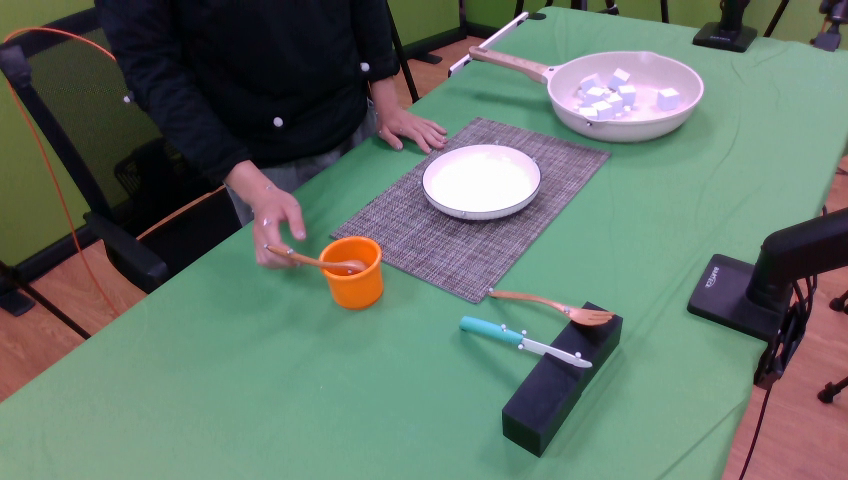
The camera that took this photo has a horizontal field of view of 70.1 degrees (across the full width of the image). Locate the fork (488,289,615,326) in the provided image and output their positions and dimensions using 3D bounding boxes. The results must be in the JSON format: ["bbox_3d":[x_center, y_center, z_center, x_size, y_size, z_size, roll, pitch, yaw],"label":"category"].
[{"bbox_3d":[0.160,0.086,0.800,0.205,0.019,0.028,12,48,48],"label":"fork"}]

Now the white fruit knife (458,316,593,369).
[{"bbox_3d":[0.120,0.127,0.757,0.205,0.027,0.016,12,44,43],"label":"white fruit knife"}]

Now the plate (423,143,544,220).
[{"bbox_3d":[0.102,-0.097,1.048,0.207,0.039,0.206,-4,40,4],"label":"plate"}]

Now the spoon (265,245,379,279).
[{"bbox_3d":[-0.137,0.031,0.846,0.195,0.021,0.041,13,16,-45],"label":"spoon"}]

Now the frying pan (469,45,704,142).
[{"bbox_3d":[0.307,-0.326,1.239,0.485,0.103,0.307,26,49,22],"label":"frying pan"}]
